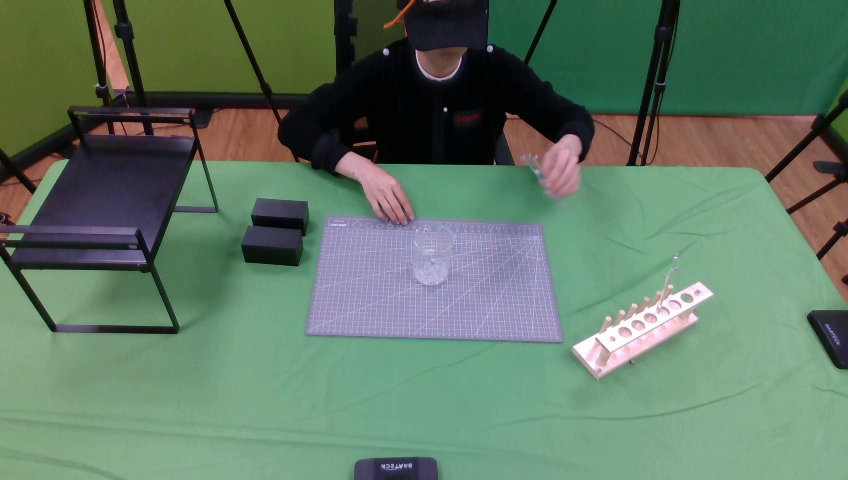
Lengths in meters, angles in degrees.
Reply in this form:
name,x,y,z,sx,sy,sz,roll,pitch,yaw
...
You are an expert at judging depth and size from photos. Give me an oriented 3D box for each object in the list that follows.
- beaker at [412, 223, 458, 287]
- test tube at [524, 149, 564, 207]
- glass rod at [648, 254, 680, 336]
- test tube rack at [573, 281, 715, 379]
name,x,y,z,sx,sy,sz,roll,pitch,yaw
beaker,0.018,0.030,1.109,0.084,0.101,0.073,-10,48,-14
test tube,0.215,-0.108,1.075,0.017,0.151,0.017,-23,43,23
glass rod,0.390,0.094,0.991,0.008,0.201,0.008,-1,44,2
test tube rack,0.378,0.140,1.038,0.242,0.085,0.066,-22,51,-22
